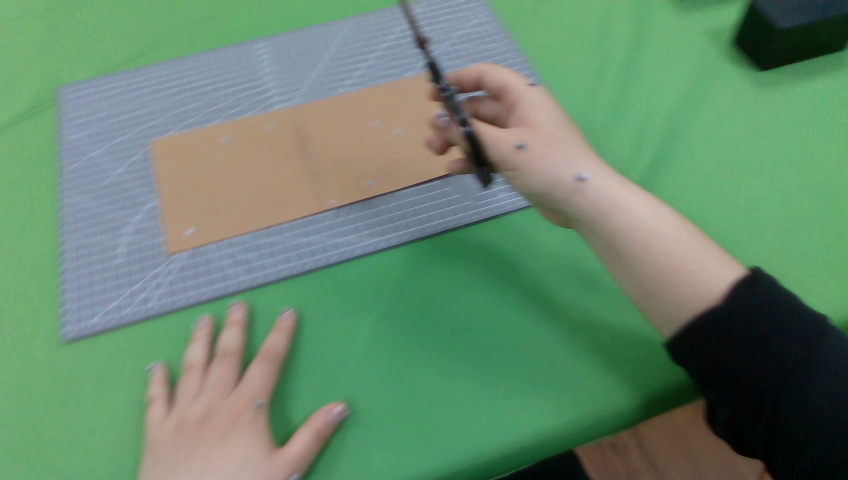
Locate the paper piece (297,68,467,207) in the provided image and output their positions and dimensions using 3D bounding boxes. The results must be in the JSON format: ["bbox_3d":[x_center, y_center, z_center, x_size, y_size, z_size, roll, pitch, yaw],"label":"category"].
[{"bbox_3d":[-0.036,-0.098,0.547,0.135,0.004,0.134,-17,56,-8],"label":"paper piece"}]

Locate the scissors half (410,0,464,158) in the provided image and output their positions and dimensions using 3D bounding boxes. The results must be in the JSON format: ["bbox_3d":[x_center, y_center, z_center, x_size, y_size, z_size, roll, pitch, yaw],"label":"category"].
[{"bbox_3d":[0.006,-0.120,0.402,0.013,0.176,0.039,-22,23,6],"label":"scissors half"}]

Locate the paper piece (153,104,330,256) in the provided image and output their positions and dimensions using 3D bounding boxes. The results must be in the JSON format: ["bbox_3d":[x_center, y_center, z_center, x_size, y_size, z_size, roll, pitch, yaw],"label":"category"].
[{"bbox_3d":[-0.163,-0.059,0.528,0.138,0.009,0.134,-17,54,-7],"label":"paper piece"}]

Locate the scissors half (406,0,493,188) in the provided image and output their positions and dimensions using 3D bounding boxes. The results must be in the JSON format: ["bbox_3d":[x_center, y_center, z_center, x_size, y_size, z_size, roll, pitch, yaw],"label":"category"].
[{"bbox_3d":[0.007,-0.114,0.383,0.013,0.040,0.175,-24,98,1],"label":"scissors half"}]
